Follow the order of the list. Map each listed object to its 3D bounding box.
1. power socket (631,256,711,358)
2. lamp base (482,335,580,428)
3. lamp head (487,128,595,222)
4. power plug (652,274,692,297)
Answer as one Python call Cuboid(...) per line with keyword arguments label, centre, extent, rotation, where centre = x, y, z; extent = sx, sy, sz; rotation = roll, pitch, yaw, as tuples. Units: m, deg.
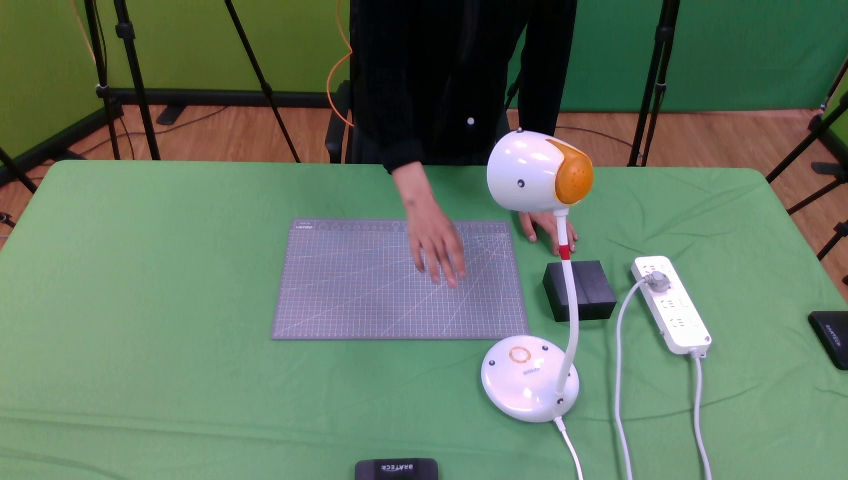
Cuboid(label="power socket", centre=(0.449, 0.115, 1.112), extent=(0.072, 0.033, 0.225), rotation=(-4, 47, -6))
Cuboid(label="lamp base", centre=(0.185, 0.177, 0.928), extent=(0.161, 0.181, 0.178), rotation=(-22, 53, -23))
Cuboid(label="lamp head", centre=(0.160, -0.084, 0.792), extent=(0.112, 0.113, 0.122), rotation=(-24, 28, -25))
Cuboid(label="power plug", centre=(0.446, 0.092, 1.102), extent=(0.035, 0.053, 0.072), rotation=(-27, 57, -7))
